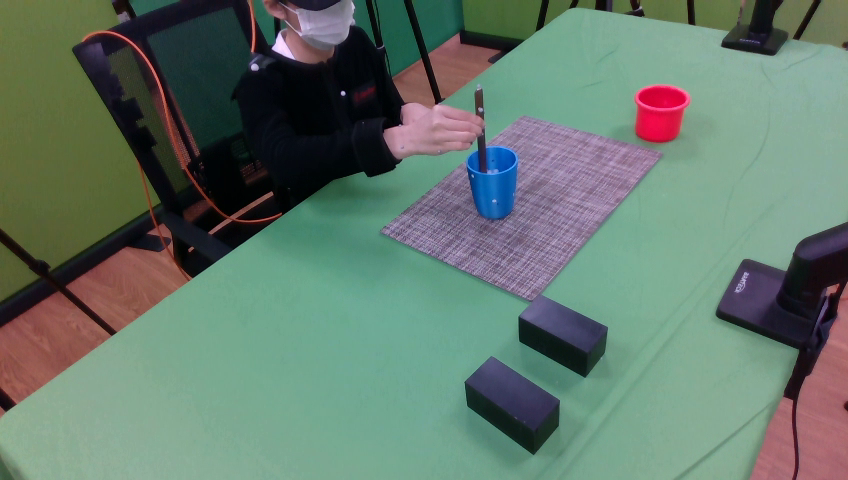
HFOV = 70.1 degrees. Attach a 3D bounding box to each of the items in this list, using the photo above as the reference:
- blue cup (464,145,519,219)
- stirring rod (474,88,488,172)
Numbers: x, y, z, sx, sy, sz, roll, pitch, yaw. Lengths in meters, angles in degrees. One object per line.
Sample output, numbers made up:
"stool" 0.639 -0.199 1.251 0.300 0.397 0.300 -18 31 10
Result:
"blue cup" 0.115 -0.091 0.998 0.092 0.100 0.092 -5 40 5
"stirring rod" 0.091 -0.162 0.947 0.014 0.177 0.005 -34 51 -20
